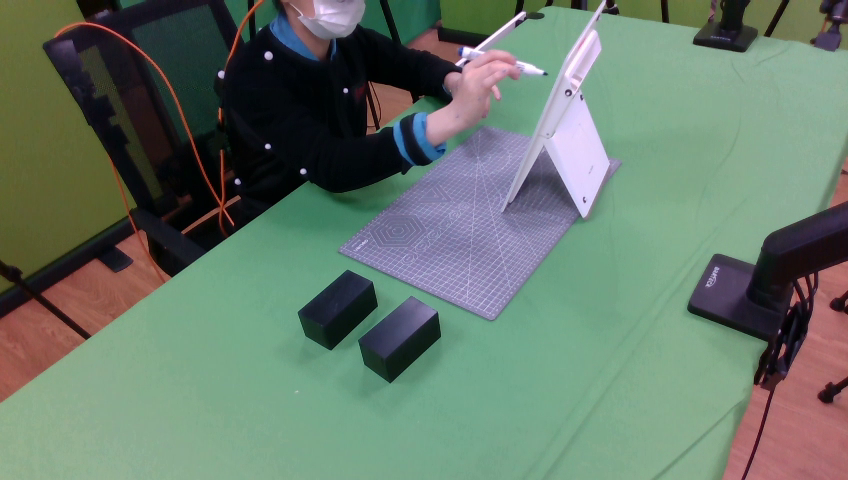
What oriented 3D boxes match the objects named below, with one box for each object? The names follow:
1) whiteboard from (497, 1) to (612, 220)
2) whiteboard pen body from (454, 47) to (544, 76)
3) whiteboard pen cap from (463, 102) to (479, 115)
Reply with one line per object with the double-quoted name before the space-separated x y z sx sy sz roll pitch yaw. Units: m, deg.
"whiteboard" 0.260 -0.177 0.963 0.143 0.306 0.217 28 49 9
"whiteboard pen body" 0.114 -0.268 0.916 0.141 0.017 0.017 15 42 -2
"whiteboard pen cap" 0.089 -0.250 1.150 0.017 0.017 0.032 25 41 32
